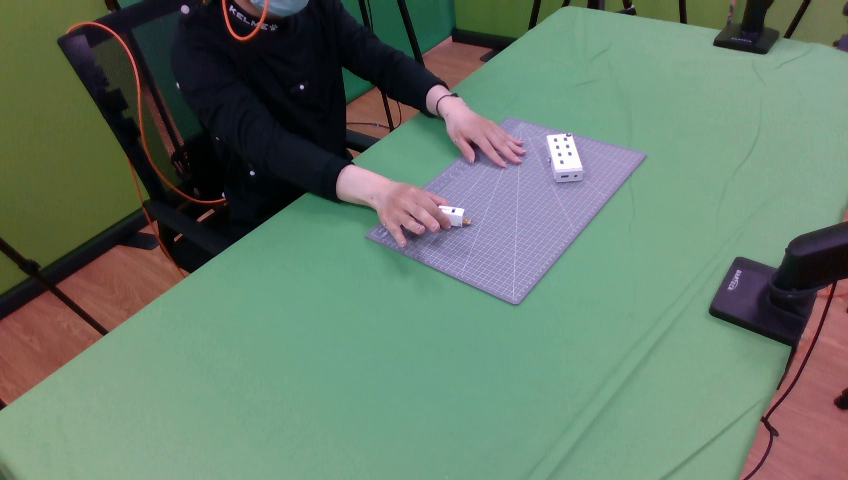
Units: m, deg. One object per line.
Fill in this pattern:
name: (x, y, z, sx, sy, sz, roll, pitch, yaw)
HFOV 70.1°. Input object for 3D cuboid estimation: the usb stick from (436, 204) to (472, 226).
usb stick: (0.051, -0.040, 0.997, 0.059, 0.027, 0.021, 13, 39, 8)

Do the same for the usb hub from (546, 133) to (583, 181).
usb hub: (0.256, -0.152, 1.103, 0.049, 0.025, 0.124, -3, 41, 4)
